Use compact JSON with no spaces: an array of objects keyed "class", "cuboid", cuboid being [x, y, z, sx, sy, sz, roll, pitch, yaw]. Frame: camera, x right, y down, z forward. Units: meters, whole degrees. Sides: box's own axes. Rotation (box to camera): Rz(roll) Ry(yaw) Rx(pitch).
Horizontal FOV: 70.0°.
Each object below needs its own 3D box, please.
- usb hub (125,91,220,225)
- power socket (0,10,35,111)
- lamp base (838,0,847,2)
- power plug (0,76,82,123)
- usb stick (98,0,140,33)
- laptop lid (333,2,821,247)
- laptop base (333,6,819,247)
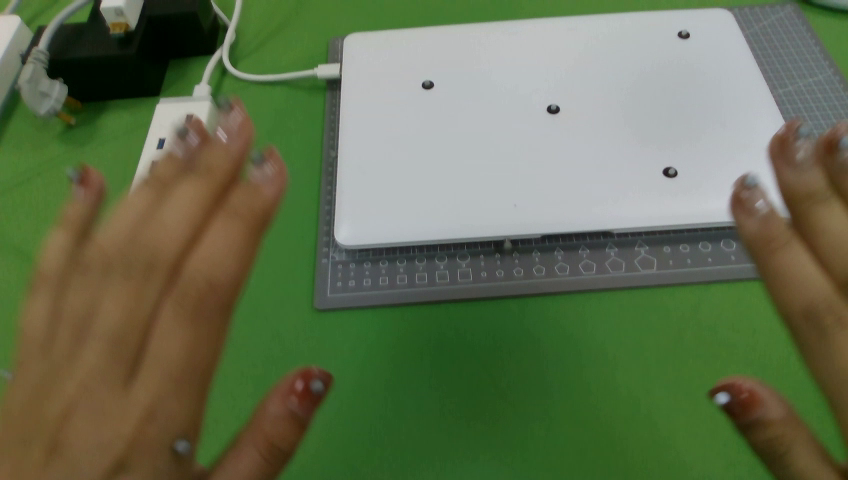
[{"class":"usb hub","cuboid":[-0.203,-0.069,0.496,0.049,0.025,0.124,-3,56,3]},{"class":"power socket","cuboid":[-0.421,-0.131,0.546,0.072,0.033,0.224,-3,56,1]},{"class":"lamp base","cuboid":[0.420,-0.339,0.542,0.159,0.182,0.178,25,59,19]},{"class":"power plug","cuboid":[-0.338,-0.119,0.530,0.072,0.053,0.035,-11,58,36]},{"class":"usb stick","cuboid":[-0.266,-0.206,0.529,0.021,0.027,0.058,-4,59,-1]},{"class":"laptop lid","cuboid":[0.104,-0.105,0.490,0.357,0.013,0.239,-2,59,2]},{"class":"laptop base","cuboid":[0.105,-0.101,0.501,0.354,0.023,0.233,-4,60,1]}]
